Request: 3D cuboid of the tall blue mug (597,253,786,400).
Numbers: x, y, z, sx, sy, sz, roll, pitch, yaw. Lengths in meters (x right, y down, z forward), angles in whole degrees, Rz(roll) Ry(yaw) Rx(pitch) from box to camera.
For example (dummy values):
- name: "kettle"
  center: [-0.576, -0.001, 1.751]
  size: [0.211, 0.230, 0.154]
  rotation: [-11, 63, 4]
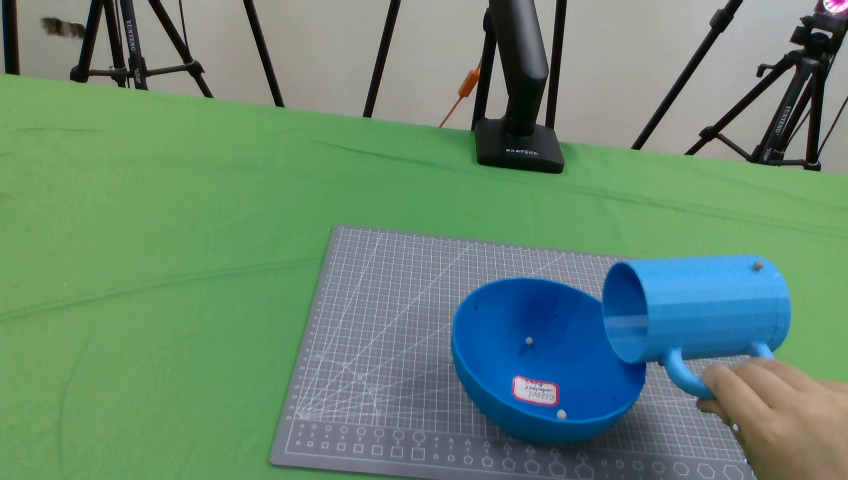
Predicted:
- name: "tall blue mug"
  center: [0.199, 0.055, 0.440]
  size: [0.108, 0.078, 0.106]
  rotation: [-2, 20, -8]

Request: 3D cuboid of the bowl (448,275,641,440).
- name: "bowl"
  center: [0.088, 0.106, 0.487]
  size: [0.151, 0.077, 0.150]
  rotation: [6, 37, -4]
